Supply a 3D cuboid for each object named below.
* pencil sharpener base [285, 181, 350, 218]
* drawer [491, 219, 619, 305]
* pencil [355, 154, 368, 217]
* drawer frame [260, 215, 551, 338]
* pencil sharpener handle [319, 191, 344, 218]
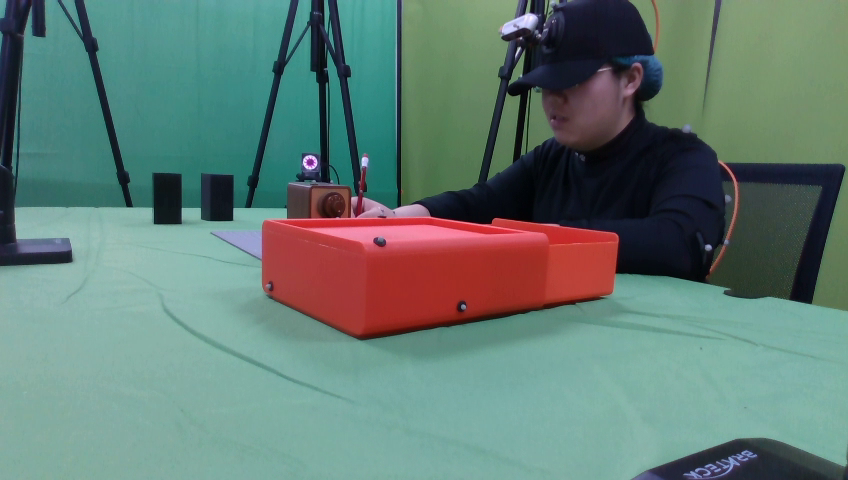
[{"bbox_3d":[-0.139,-0.021,0.789,0.062,0.107,0.076,-2,9,-36],"label":"pencil sharpener base"},{"bbox_3d":[0.071,0.021,0.669,0.213,0.073,0.193,-3,10,-39],"label":"drawer"},{"bbox_3d":[-0.109,-0.071,1.022,0.012,0.193,0.012,2,-34,2],"label":"pencil"},{"bbox_3d":[-0.021,0.024,0.595,0.215,0.082,0.200,-4,10,-38],"label":"drawer frame"},{"bbox_3d":[-0.107,-0.026,0.747,0.036,0.067,0.030,-5,11,-36],"label":"pencil sharpener handle"}]
